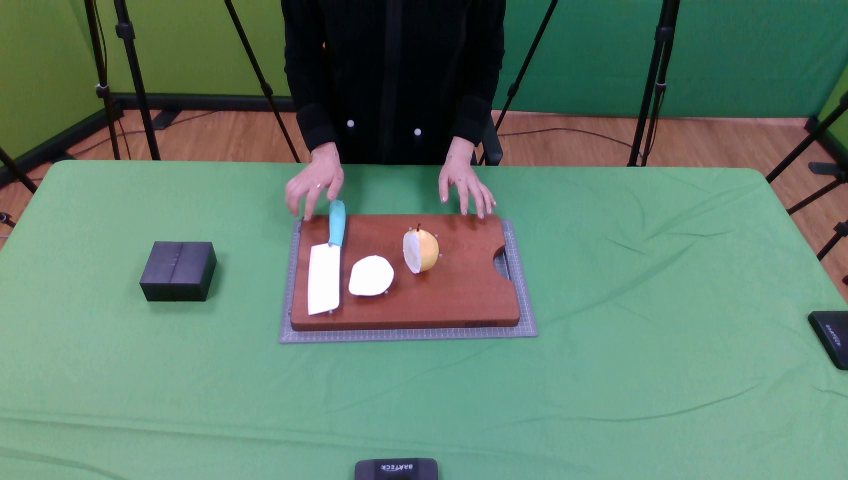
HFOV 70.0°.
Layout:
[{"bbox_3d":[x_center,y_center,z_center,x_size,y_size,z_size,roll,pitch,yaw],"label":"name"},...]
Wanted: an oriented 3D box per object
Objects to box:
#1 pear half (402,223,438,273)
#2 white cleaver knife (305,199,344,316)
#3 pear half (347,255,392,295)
[{"bbox_3d":[-0.003,0.005,1.093,0.056,0.110,0.076,-24,56,-25],"label":"pear half"},{"bbox_3d":[-0.185,0.022,1.123,0.066,0.021,0.284,-7,45,2],"label":"white cleaver knife"},{"bbox_3d":[-0.099,0.069,1.076,0.088,0.031,0.070,-39,75,-18],"label":"pear half"}]
